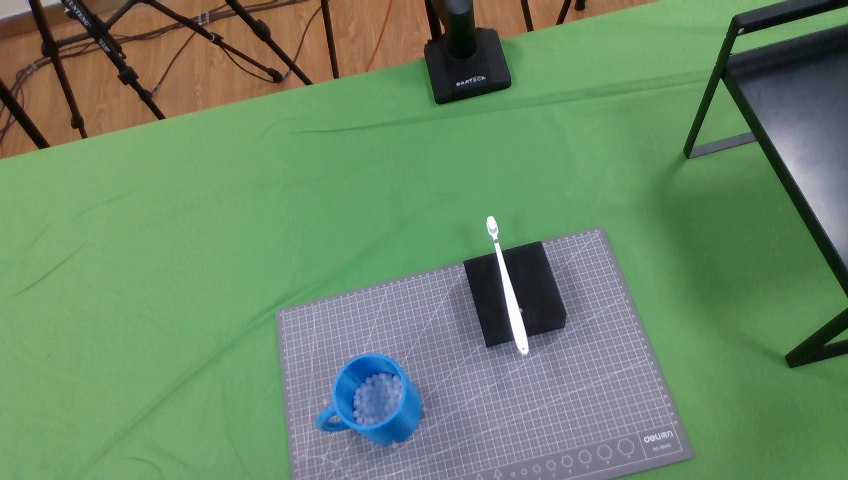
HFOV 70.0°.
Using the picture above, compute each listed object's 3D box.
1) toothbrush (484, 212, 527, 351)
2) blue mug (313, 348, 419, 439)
[{"bbox_3d":[0.097,0.045,0.723,0.014,0.017,0.180,-9,64,-4],"label":"toothbrush"},{"bbox_3d":[-0.069,0.183,0.688,0.116,0.107,0.081,-23,63,-2],"label":"blue mug"}]
